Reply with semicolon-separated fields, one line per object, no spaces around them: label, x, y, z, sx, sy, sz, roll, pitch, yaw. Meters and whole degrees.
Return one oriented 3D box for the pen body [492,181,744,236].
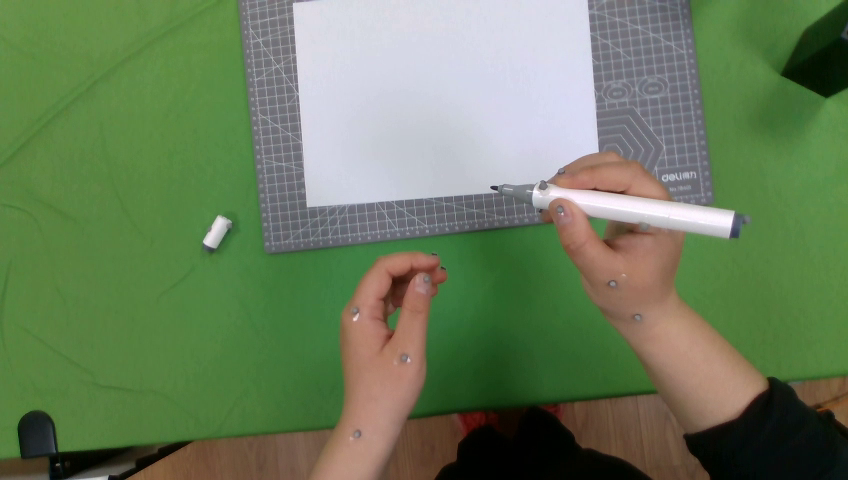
pen body;0.106;-0.021;0.355;0.143;0.017;0.017;11;90;25

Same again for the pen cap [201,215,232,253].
pen cap;-0.214;-0.006;0.623;0.017;0.017;0.038;32;91;5
